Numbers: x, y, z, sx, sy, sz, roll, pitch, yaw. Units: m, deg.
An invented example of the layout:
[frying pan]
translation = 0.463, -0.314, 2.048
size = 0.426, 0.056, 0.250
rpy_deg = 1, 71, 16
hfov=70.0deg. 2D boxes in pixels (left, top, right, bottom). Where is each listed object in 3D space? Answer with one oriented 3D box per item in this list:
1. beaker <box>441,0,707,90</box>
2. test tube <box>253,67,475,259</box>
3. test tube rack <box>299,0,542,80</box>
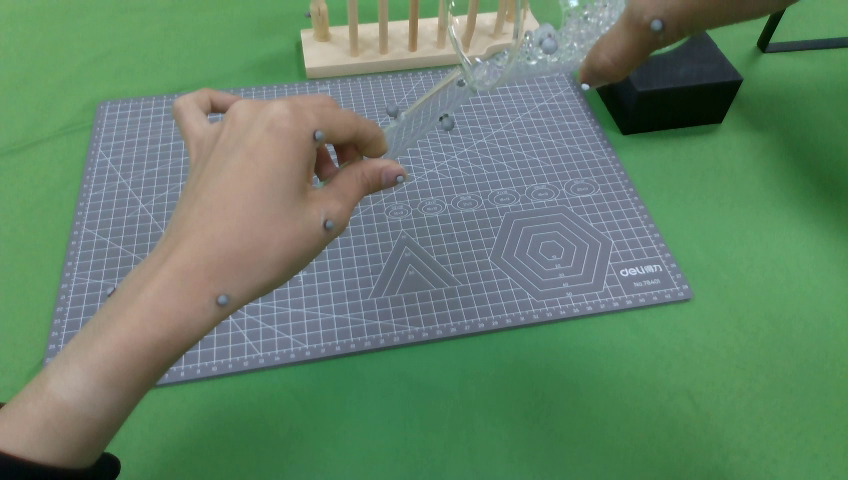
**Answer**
[beaker]
translation = 0.066, -0.110, 0.271
size = 0.100, 0.084, 0.073
rpy_deg = -14, 58, -16
[test tube]
translation = -0.036, -0.035, 0.312
size = 0.150, 0.017, 0.017
rpy_deg = -37, 51, 19
[test tube rack]
translation = -0.003, -0.225, 0.596
size = 0.243, 0.086, 0.066
rpy_deg = -8, 52, -8
